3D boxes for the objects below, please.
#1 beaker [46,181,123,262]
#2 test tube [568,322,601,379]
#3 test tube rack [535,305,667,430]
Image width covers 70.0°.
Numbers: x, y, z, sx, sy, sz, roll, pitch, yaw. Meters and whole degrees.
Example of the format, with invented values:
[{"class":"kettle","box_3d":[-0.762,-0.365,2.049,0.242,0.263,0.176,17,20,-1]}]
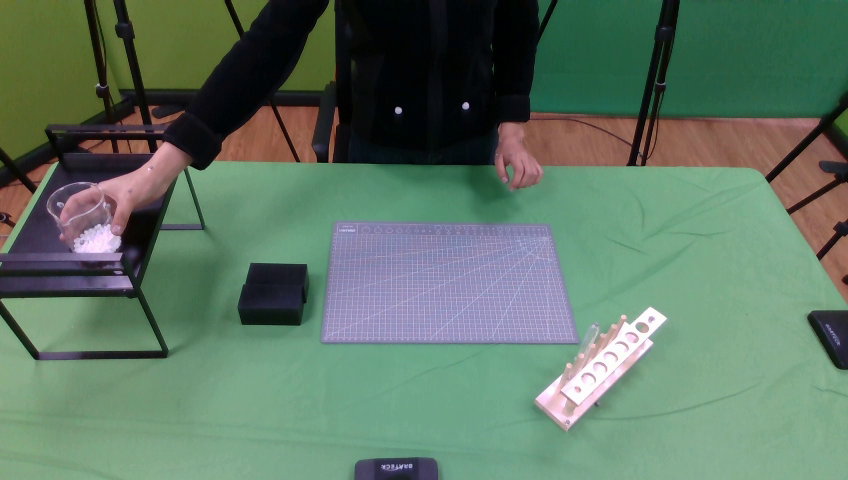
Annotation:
[{"class":"beaker","box_3d":[-0.487,-0.021,0.877,0.074,0.101,0.083,2,47,-1]},{"class":"test tube","box_3d":[0.247,0.173,0.938,0.017,0.151,0.017,2,47,-2]},{"class":"test tube rack","box_3d":[0.290,0.193,0.984,0.242,0.085,0.066,-32,56,-30]}]
